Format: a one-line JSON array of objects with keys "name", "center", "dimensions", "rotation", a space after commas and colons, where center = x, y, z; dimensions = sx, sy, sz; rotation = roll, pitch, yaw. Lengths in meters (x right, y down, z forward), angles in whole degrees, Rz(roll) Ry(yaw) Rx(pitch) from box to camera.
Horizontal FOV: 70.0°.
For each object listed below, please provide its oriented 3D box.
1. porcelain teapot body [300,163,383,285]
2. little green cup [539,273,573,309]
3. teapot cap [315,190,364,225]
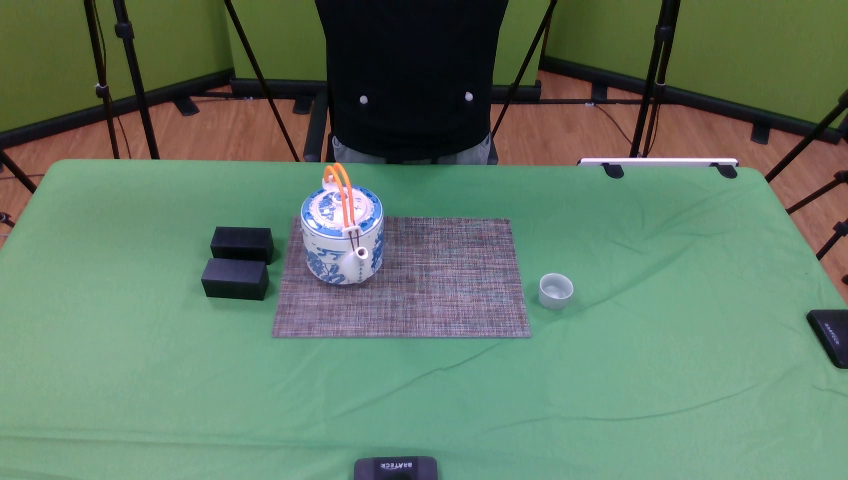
[{"name": "porcelain teapot body", "center": [-0.134, -0.014, 1.057], "dimensions": [0.145, 0.226, 0.204], "rotation": [-16, 50, -19]}, {"name": "little green cup", "center": [0.240, 0.096, 1.113], "dimensions": [0.061, 0.039, 0.061], "rotation": [3, 47, -2]}, {"name": "teapot cap", "center": [-0.145, -0.061, 1.045], "dimensions": [0.085, 0.044, 0.084], "rotation": [1, 49, -1]}]
